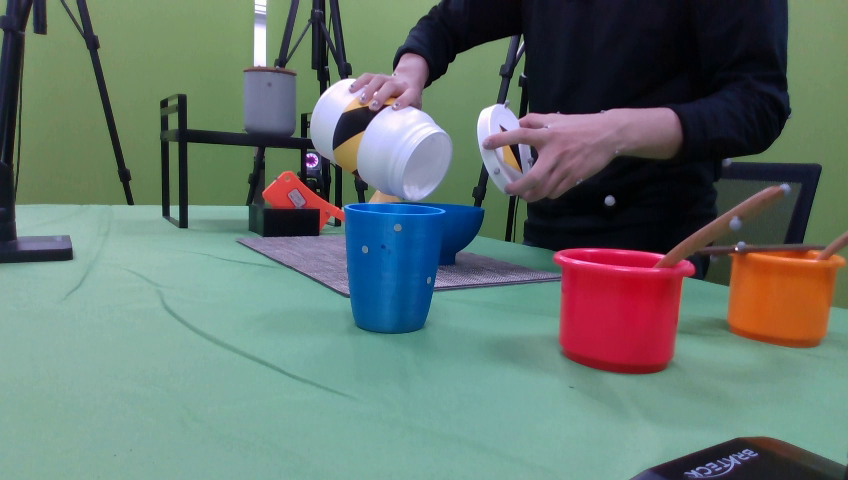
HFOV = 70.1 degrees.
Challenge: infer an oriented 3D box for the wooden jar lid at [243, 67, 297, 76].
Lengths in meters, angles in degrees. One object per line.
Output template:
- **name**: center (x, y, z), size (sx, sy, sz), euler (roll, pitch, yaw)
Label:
- **wooden jar lid**: center (-0.319, -0.342, 1.254), size (0.108, 0.020, 0.108), euler (3, 8, 0)

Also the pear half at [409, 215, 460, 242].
- **pear half**: center (0.012, -0.019, 0.848), size (0.070, 0.031, 0.088), euler (2, 9, 34)

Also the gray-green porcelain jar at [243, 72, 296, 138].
- **gray-green porcelain jar**: center (-0.322, -0.279, 1.263), size (0.106, 0.126, 0.106), euler (3, 8, 0)

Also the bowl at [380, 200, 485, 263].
- **bowl**: center (0.008, -0.013, 0.841), size (0.151, 0.077, 0.151), euler (2, 7, 0)

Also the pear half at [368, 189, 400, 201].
- **pear half**: center (-0.064, -0.061, 1.077), size (0.055, 0.110, 0.077), euler (9, 13, 39)

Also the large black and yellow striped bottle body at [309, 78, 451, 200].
- **large black and yellow striped bottle body**: center (-0.064, -0.147, 0.887), size (0.183, 0.130, 0.131), euler (32, 22, 29)

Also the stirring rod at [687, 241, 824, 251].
- **stirring rod**: center (0.289, 0.005, 0.525), size (0.177, 0.006, 0.014), euler (-1, 5, -26)

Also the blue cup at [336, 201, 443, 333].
- **blue cup**: center (-0.029, 0.021, 0.508), size (0.093, 0.100, 0.092), euler (3, 9, 0)

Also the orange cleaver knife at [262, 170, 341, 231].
- **orange cleaver knife**: center (-0.201, -0.057, 1.136), size (0.212, 0.077, 0.012), euler (31, -3, -31)

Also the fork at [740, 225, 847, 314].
- **fork**: center (0.323, 0.013, 0.485), size (0.028, 0.018, 0.207), euler (8, -38, -5)

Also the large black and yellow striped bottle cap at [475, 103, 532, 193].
- **large black and yellow striped bottle cap**: center (0.102, -0.116, 0.760), size (0.018, 0.115, 0.115), euler (-16, -4, 34)

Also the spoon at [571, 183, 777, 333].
- **spoon**: center (0.161, 0.020, 0.413), size (0.042, 0.021, 0.193), euler (1, -36, -24)
